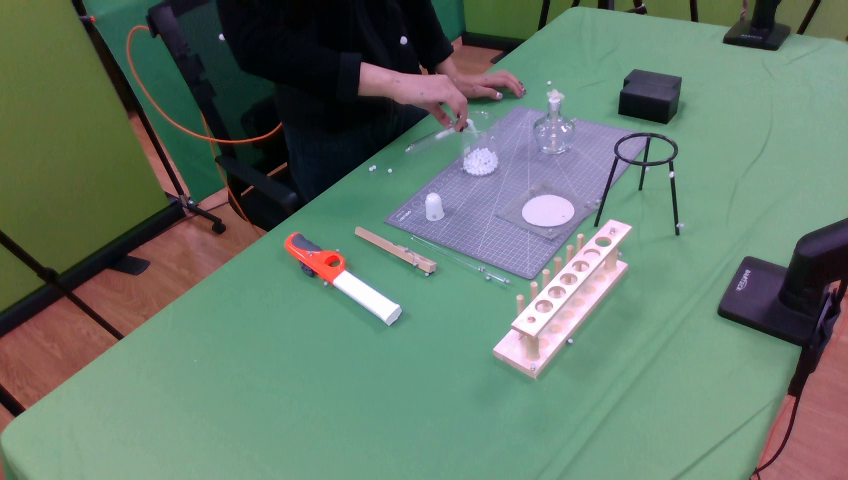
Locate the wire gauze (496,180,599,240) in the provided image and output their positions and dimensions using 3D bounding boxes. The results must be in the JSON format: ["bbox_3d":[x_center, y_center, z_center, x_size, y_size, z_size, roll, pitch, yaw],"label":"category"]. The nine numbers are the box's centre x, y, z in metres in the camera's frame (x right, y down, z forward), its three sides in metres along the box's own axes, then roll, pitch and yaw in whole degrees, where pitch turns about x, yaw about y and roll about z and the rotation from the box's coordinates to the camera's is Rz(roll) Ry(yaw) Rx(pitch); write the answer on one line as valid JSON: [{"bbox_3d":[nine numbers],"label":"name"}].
[{"bbox_3d":[0.206,-0.050,1.012,0.125,0.011,0.120,-34,45,-26],"label":"wire gauze"}]

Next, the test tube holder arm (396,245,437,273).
[{"bbox_3d":[-0.016,0.029,0.957,0.087,0.015,0.010,25,15,35],"label":"test tube holder arm"}]

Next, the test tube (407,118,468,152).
[{"bbox_3d":[0.024,-0.175,1.004,0.017,0.017,0.151,23,39,33],"label":"test tube"}]

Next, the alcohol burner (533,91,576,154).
[{"bbox_3d":[0.243,-0.222,1.124,0.078,0.119,0.077,-4,39,4],"label":"alcohol burner"}]

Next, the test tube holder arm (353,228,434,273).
[{"bbox_3d":[-0.053,0.014,0.978,0.177,0.015,0.013,25,15,34],"label":"test tube holder arm"}]

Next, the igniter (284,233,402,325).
[{"bbox_3d":[-0.136,0.054,0.942,0.274,0.025,0.057,30,63,37],"label":"igniter"}]

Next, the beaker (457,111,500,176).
[{"bbox_3d":[0.104,-0.175,1.108,0.073,0.101,0.084,16,46,27],"label":"beaker"}]

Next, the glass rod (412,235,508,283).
[{"bbox_3d":[0.051,0.028,0.951,0.198,0.008,0.008,25,51,37],"label":"glass rod"}]

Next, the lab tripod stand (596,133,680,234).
[{"bbox_3d":[0.338,-0.091,0.940,0.148,0.132,0.147,-7,39,6],"label":"lab tripod stand"}]

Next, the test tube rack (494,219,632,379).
[{"bbox_3d":[0.191,0.068,0.818,0.066,0.085,0.243,25,51,35],"label":"test tube rack"}]

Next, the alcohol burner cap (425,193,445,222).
[{"bbox_3d":[0.017,-0.058,1.030,0.034,0.048,0.033,-6,40,5],"label":"alcohol burner cap"}]
